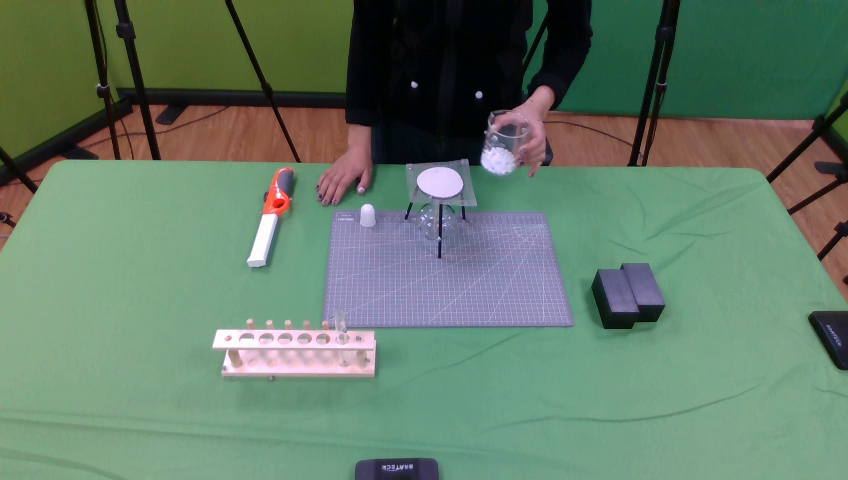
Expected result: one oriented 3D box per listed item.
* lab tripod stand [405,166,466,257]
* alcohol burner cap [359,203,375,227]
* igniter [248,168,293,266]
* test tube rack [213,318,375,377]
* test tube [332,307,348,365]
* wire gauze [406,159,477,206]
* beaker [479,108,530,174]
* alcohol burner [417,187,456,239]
[{"bbox_3d":[0.030,-0.063,1.180,0.148,0.132,0.147,3,47,-3],"label":"lab tripod stand"},{"bbox_3d":[-0.115,-0.053,1.224,0.034,0.048,0.033,3,47,-3],"label":"alcohol burner cap"},{"bbox_3d":[-0.307,-0.055,1.225,0.057,0.025,0.275,-3,45,6],"label":"igniter"},{"bbox_3d":[-0.202,0.169,0.977,0.242,0.085,0.066,1,46,-3],"label":"test tube rack"},{"bbox_3d":[-0.128,0.151,0.931,0.017,0.151,0.017,1,50,-2],"label":"test tube"},{"bbox_3d":[0.031,-0.108,1.129,0.125,0.011,0.120,-1,48,-4],"label":"wire gauze"},{"bbox_3d":[0.139,-0.177,1.093,0.074,0.101,0.083,-29,60,-28],"label":"beaker"},{"bbox_3d":[0.025,-0.059,1.189,0.078,0.120,0.077,1,48,-1],"label":"alcohol burner"}]
